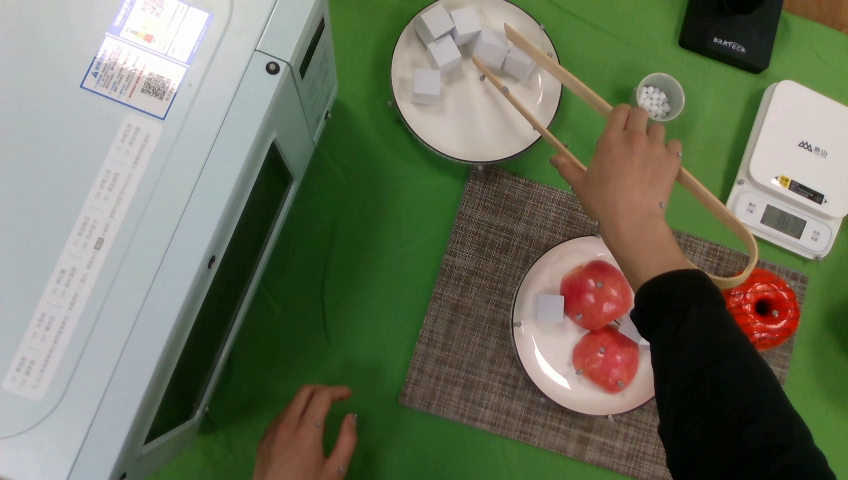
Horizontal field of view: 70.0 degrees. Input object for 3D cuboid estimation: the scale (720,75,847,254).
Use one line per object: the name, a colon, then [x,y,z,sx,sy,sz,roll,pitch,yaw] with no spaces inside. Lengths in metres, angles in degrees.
scale: [0.473,-0.096,0.769,0.149,0.031,0.200,23,83,-3]

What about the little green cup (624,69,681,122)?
little green cup: [0.281,-0.177,0.753,0.061,0.038,0.061,1,84,-6]

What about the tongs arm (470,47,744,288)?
tongs arm: [0.172,-0.094,0.632,0.051,0.027,0.381,-35,63,1]

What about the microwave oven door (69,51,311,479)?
microwave oven door: [-0.194,0.031,0.558,0.039,0.244,0.355,21,82,-3]

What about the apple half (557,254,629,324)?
apple half: [0.199,0.054,0.702,0.081,0.053,0.074,-27,85,-9]

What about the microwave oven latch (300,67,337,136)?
microwave oven latch: [-0.125,-0.161,0.687,0.030,0.029,0.079,24,83,-4]

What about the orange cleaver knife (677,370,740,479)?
orange cleaver knife: [0.343,0.262,0.722,0.077,0.012,0.210,1,83,-11]

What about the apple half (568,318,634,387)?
apple half: [0.212,0.129,0.704,0.081,0.033,0.081,0,85,-2]

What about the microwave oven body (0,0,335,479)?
microwave oven body: [-0.315,-0.061,0.559,0.326,0.260,0.440,21,83,-4]

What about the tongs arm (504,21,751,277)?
tongs arm: [0.197,-0.114,0.632,0.028,0.028,0.384,-35,63,-3]

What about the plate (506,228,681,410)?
plate: [0.196,0.091,0.713,0.209,0.038,0.208,1,84,-6]

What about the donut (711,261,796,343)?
donut: [0.397,0.075,0.734,0.099,0.048,0.099,0,84,-4]

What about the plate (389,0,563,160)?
plate: [0.061,-0.195,0.730,0.208,0.039,0.207,1,84,-6]
